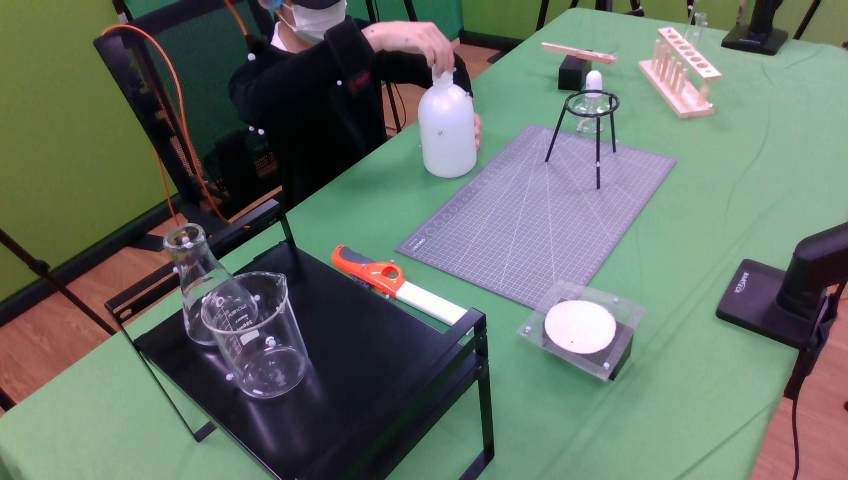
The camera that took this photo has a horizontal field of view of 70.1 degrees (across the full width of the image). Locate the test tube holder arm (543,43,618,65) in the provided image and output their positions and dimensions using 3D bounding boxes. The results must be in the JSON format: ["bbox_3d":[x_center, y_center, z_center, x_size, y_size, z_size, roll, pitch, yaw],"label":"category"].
[{"bbox_3d":[0.344,-0.413,1.340,0.177,0.015,0.013,25,51,31],"label":"test tube holder arm"}]

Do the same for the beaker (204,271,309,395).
[{"bbox_3d":[-0.149,0.088,0.565,0.073,0.101,0.084,20,47,29],"label":"beaker"}]

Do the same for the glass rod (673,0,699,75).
[{"bbox_3d":[0.541,-0.427,1.246,0.008,0.200,0.008,0,48,1],"label":"glass rod"}]

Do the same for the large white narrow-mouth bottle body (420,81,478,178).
[{"bbox_3d":[0.043,-0.217,1.098,0.102,0.195,0.101,-4,40,4],"label":"large white narrow-mouth bottle body"}]

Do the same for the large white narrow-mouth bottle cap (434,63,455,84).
[{"bbox_3d":[0.035,-0.286,1.039,0.038,0.024,0.037,-4,40,4],"label":"large white narrow-mouth bottle cap"}]

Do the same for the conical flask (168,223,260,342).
[{"bbox_3d":[-0.219,0.040,0.614,0.075,0.122,0.075,-5,40,4],"label":"conical flask"}]

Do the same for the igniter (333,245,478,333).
[{"bbox_3d":[-0.038,0.068,0.905,0.274,0.025,0.057,24,60,32],"label":"igniter"}]

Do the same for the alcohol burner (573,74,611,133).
[{"bbox_3d":[0.330,-0.270,1.176,0.078,0.119,0.077,-4,43,4],"label":"alcohol burner"}]

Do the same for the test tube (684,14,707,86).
[{"bbox_3d":[0.541,-0.379,1.216,0.017,0.151,0.017,-2,44,2],"label":"test tube"}]

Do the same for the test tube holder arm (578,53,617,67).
[{"bbox_3d":[0.375,-0.393,1.314,0.087,0.015,0.010,25,51,32],"label":"test tube holder arm"}]

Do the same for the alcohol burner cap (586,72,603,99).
[{"bbox_3d":[0.325,-0.297,1.154,0.034,0.048,0.033,-8,35,6],"label":"alcohol burner cap"}]

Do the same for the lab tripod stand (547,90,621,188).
[{"bbox_3d":[0.289,-0.184,1.062,0.148,0.132,0.147,-6,41,6],"label":"lab tripod stand"}]

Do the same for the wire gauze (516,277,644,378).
[{"bbox_3d":[0.197,0.103,0.765,0.124,0.011,0.122,23,50,32],"label":"wire gauze"}]

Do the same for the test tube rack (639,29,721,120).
[{"bbox_3d":[0.527,-0.351,1.262,0.067,0.085,0.241,-8,40,1],"label":"test tube rack"}]
